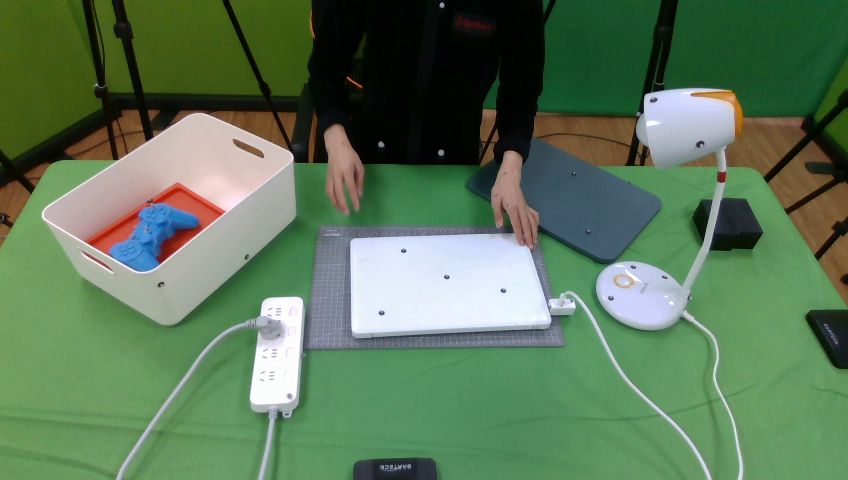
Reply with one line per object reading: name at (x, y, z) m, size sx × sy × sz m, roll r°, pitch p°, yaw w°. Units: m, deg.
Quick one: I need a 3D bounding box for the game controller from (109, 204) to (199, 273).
game controller at (-0.467, -0.005, 1.044) m, size 0.097 × 0.052 × 0.154 m, roll 8°, pitch 46°, yaw 10°

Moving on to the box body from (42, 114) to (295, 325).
box body at (-0.437, -0.046, 1.110) m, size 0.253 × 0.161 × 0.363 m, roll 24°, pitch 49°, yaw 19°

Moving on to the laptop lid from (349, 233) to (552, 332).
laptop lid at (0.040, 0.071, 1.119) m, size 0.357 × 0.013 × 0.240 m, roll -1°, pitch 44°, yaw -5°

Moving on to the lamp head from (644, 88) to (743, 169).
lamp head at (0.380, -0.161, 0.851) m, size 0.122 × 0.113 × 0.112 m, roll -4°, pitch 42°, yaw 25°

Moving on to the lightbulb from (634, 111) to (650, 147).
lightbulb at (0.348, -0.163, 0.852) m, size 0.059 × 0.060 × 0.107 m, roll -36°, pitch 19°, yaw -32°

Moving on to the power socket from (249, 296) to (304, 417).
power socket at (-0.239, 0.182, 0.996) m, size 0.072 × 0.033 × 0.225 m, roll -2°, pitch 47°, yaw -5°

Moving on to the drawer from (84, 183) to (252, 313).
drawer at (-0.457, 0.008, 1.099) m, size 0.194 × 0.073 × 0.211 m, roll 29°, pitch 49°, yaw 21°

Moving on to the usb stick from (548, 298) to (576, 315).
usb stick at (0.240, 0.120, 1.086) m, size 0.059 × 0.027 × 0.021 m, roll -2°, pitch 51°, yaw -2°

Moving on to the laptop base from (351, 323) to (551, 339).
laptop base at (0.040, 0.081, 1.125) m, size 0.355 × 0.023 × 0.234 m, roll -2°, pitch 43°, yaw -6°

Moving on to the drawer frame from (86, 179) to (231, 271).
drawer frame at (-0.453, 0.010, 1.100) m, size 0.201 × 0.083 × 0.213 m, roll 28°, pitch 55°, yaw 22°

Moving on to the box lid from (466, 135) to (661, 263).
box lid at (0.306, -0.102, 1.327) m, size 0.370 × 0.015 × 0.263 m, roll 32°, pitch 52°, yaw 25°

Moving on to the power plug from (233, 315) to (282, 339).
power plug at (-0.271, 0.144, 0.999) m, size 0.072 × 0.053 × 0.035 m, roll 6°, pitch 47°, yaw 3°

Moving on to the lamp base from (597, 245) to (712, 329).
lamp base at (0.418, 0.051, 1.071) m, size 0.179 × 0.181 × 0.160 m, roll 22°, pitch 49°, yaw 13°
